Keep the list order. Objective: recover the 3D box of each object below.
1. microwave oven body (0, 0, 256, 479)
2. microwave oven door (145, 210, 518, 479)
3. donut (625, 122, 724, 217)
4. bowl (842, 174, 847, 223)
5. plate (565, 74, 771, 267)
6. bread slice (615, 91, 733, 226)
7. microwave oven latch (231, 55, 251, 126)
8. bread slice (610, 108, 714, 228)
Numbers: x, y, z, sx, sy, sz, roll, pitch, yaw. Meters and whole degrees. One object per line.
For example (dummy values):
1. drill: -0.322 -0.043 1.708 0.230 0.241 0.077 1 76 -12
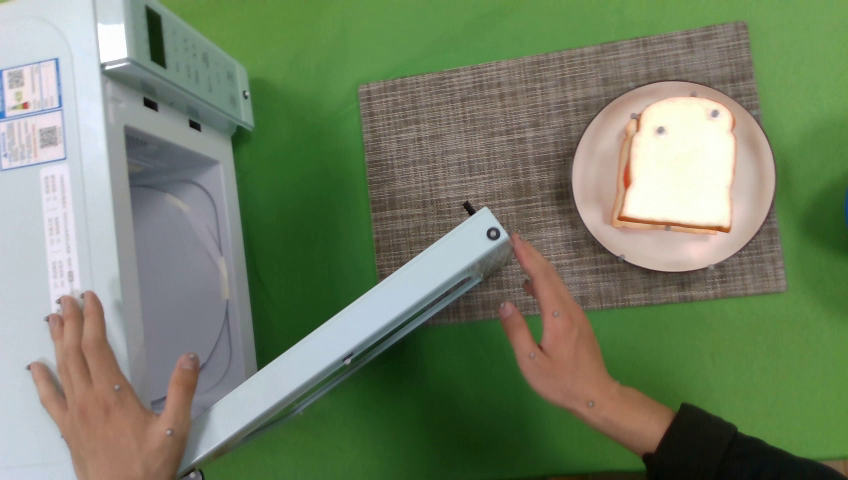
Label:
1. microwave oven body: -0.370 0.010 0.652 0.325 0.261 0.440 -9 86 9
2. microwave oven door: -0.064 0.095 0.591 0.356 0.244 0.039 -37 81 6
3. donut: 0.258 -0.073 0.627 0.099 0.048 0.099 0 90 2
4. bowl: 0.487 -0.040 0.602 0.151 0.077 0.151 -1 87 9
5. plate: 0.260 -0.073 0.660 0.207 0.039 0.207 -1 87 10
6. bread slice: 0.251 -0.083 0.604 0.104 0.019 0.131 6 86 16
7. microwave oven latch: -0.232 -0.181 0.736 0.030 0.029 0.079 -9 86 9
8. bread slice: 0.258 -0.080 0.660 0.107 0.018 0.134 2 87 9
